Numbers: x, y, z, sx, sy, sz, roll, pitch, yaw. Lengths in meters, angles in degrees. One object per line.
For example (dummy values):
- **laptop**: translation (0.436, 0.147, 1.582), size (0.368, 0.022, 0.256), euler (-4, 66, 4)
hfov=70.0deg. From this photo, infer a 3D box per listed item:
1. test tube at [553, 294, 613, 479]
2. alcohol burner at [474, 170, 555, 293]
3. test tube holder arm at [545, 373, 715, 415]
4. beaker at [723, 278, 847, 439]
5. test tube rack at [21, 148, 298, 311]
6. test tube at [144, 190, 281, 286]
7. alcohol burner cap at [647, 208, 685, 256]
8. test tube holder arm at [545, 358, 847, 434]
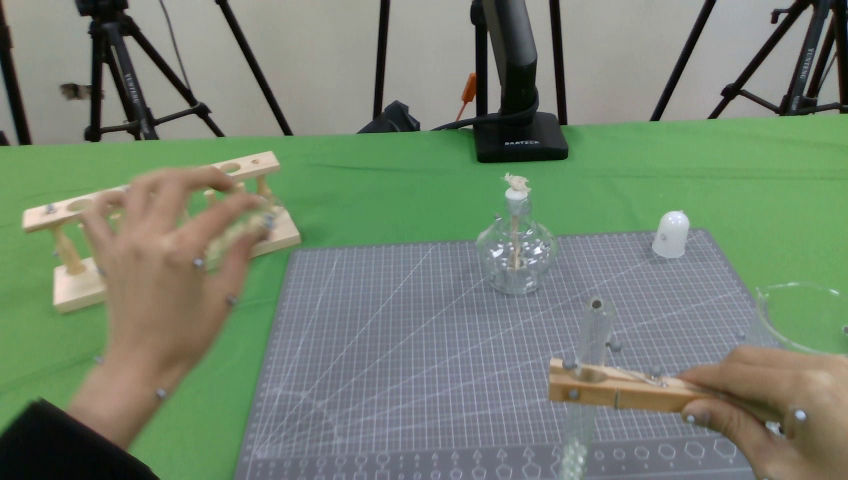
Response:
- **test tube**: translation (0.088, 0.098, 0.345), size (0.017, 0.151, 0.017), euler (2, 26, 0)
- **alcohol burner**: translation (0.085, -0.010, 0.568), size (0.078, 0.120, 0.077), euler (-3, 36, 2)
- **test tube holder arm**: translation (0.110, 0.084, 0.329), size (0.088, 0.015, 0.010), euler (3, 32, 7)
- **beaker**: translation (0.263, 0.087, 0.440), size (0.074, 0.101, 0.083), euler (-21, 40, -22)
- **test tube rack**: translation (-0.263, -0.016, 0.624), size (0.243, 0.086, 0.066), euler (-17, 40, -19)
- **test tube**: translation (-0.152, 0.002, 0.424), size (0.150, 0.017, 0.017), euler (-26, 26, 31)
- **alcohol burner cap**: translation (0.249, -0.011, 0.618), size (0.034, 0.048, 0.033), euler (-1, 37, 2)
- **test tube holder arm**: translation (0.156, 0.085, 0.326), size (0.178, 0.015, 0.013), euler (7, 33, 12)
